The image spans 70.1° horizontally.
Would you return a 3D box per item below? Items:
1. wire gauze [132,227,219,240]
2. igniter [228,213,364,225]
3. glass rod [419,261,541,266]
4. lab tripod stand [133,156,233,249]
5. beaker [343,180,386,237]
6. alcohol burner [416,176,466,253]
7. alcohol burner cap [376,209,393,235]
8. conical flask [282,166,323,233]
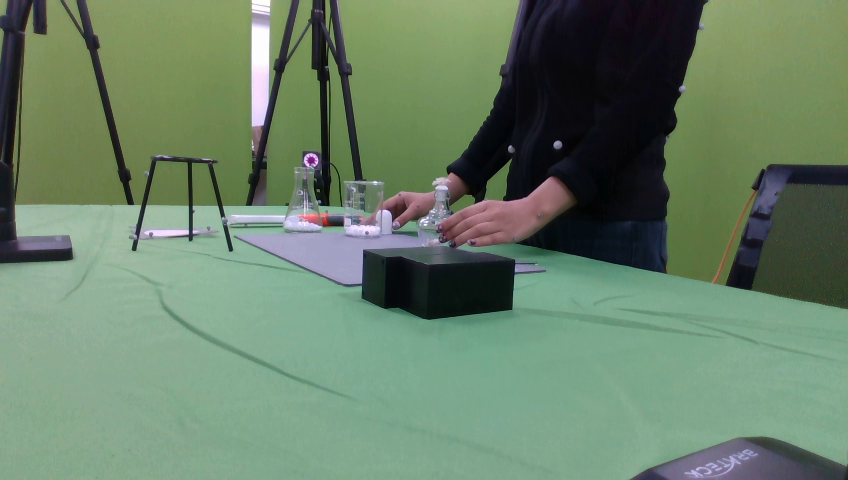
[{"bbox_3d":[-0.421,-0.014,1.024,0.122,0.011,0.124,-2,7,-34],"label":"wire gauze"},{"bbox_3d":[-0.252,-0.043,1.227,0.278,0.025,0.057,-2,-3,-32],"label":"igniter"},{"bbox_3d":[0.080,0.031,0.807,0.201,0.008,0.008,1,6,-32],"label":"glass rod"},{"bbox_3d":[-0.342,-0.054,0.878,0.148,0.131,0.148,4,6,0],"label":"lab tripod stand"},{"bbox_3d":[-0.111,-0.058,1.090,0.083,0.100,0.074,7,8,33],"label":"beaker"},{"bbox_3d":[0.027,-0.040,0.934,0.078,0.119,0.078,3,10,0],"label":"alcohol burner"},{"bbox_3d":[-0.075,-0.036,1.150,0.034,0.048,0.034,1,8,0],"label":"alcohol burner cap"},{"bbox_3d":[-0.225,-0.076,1.129,0.075,0.122,0.075,2,8,0],"label":"conical flask"}]
